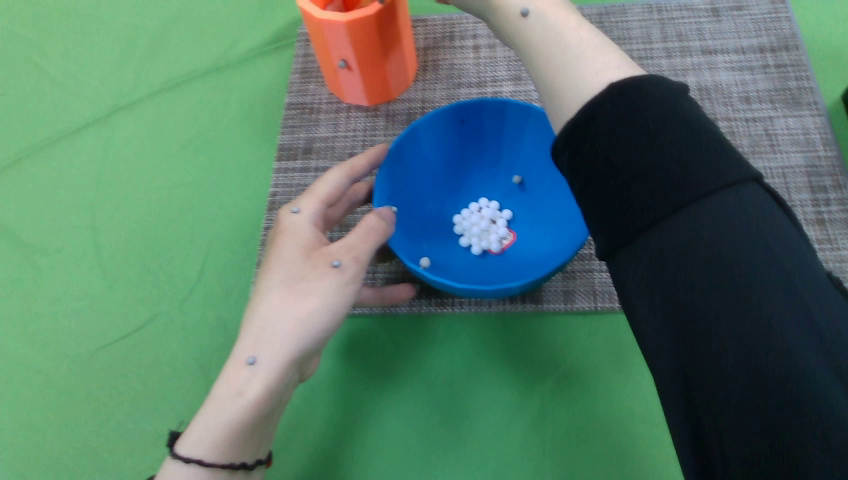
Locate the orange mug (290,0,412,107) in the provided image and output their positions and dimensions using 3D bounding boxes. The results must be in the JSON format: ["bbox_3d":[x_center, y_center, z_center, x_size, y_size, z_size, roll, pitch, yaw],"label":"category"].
[{"bbox_3d":[-0.055,-0.193,0.520,0.083,0.101,0.125,9,69,12],"label":"orange mug"}]

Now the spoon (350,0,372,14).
[{"bbox_3d":[-0.036,-0.195,0.451,0.022,0.194,0.041,-3,73,-21],"label":"spoon"}]

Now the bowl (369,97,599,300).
[{"bbox_3d":[0.042,-0.017,0.429,0.151,0.077,0.150,-3,62,5],"label":"bowl"}]
